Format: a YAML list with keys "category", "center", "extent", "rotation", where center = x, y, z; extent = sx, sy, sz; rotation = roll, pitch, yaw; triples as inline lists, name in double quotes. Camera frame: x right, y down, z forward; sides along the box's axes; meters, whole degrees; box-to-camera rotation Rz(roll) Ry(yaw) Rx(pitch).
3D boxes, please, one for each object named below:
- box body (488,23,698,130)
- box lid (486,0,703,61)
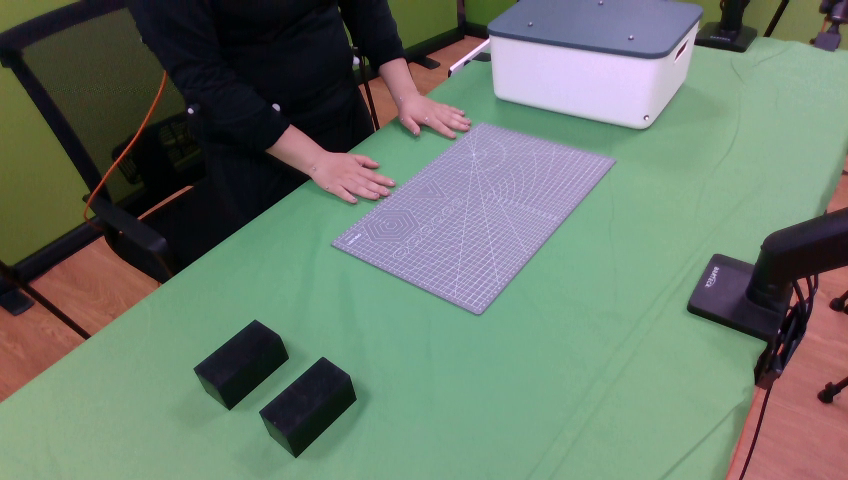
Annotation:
- category: "box body"
  center: [0.345, -0.379, 1.257]
  extent: [0.361, 0.161, 0.255]
  rotation: [20, 48, 29]
- category: "box lid"
  center: [0.338, -0.435, 1.208]
  extent: [0.369, 0.015, 0.264]
  rotation: [20, 47, 29]
